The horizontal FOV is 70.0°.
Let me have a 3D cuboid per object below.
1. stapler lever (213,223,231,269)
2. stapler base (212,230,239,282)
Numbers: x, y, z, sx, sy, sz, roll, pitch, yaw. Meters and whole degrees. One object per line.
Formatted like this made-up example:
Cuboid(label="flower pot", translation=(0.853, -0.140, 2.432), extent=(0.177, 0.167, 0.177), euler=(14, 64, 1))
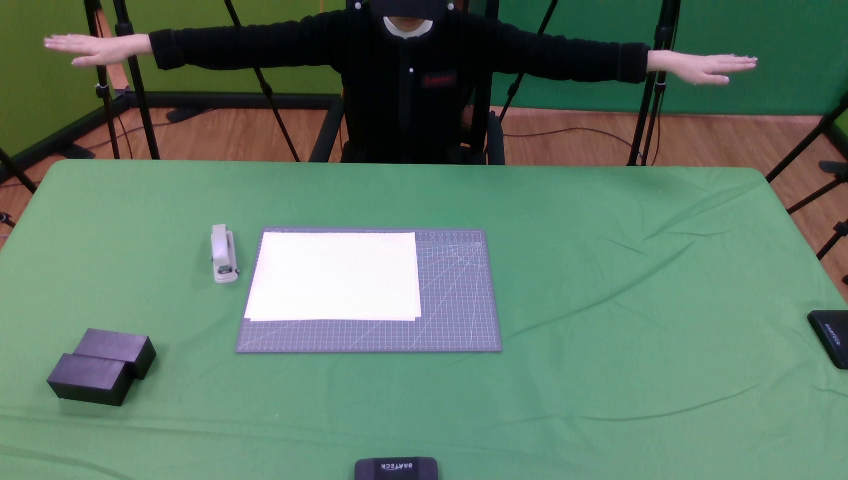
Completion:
Cuboid(label="stapler lever", translation=(-0.377, 0.005, 1.127), extent=(0.027, 0.040, 0.117), euler=(-10, 46, -15))
Cuboid(label="stapler base", translation=(-0.377, 0.024, 1.144), extent=(0.041, 0.024, 0.129), euler=(-9, 46, -15))
